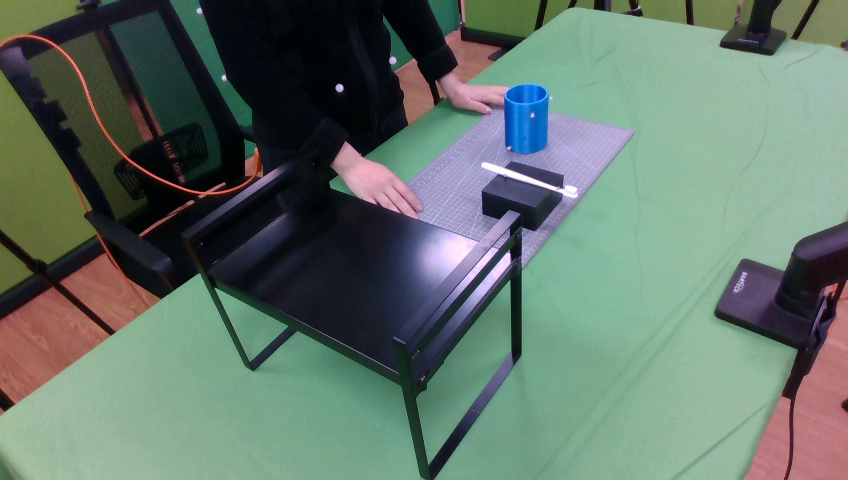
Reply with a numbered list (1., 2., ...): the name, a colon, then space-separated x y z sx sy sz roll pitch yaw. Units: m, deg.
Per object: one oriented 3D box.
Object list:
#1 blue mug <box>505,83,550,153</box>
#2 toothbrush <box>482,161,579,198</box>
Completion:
1. blue mug: 0.204 -0.242 1.160 0.082 0.106 0.116 14 45 24
2. toothbrush: 0.172 -0.103 0.996 0.180 0.017 0.014 23 57 31
